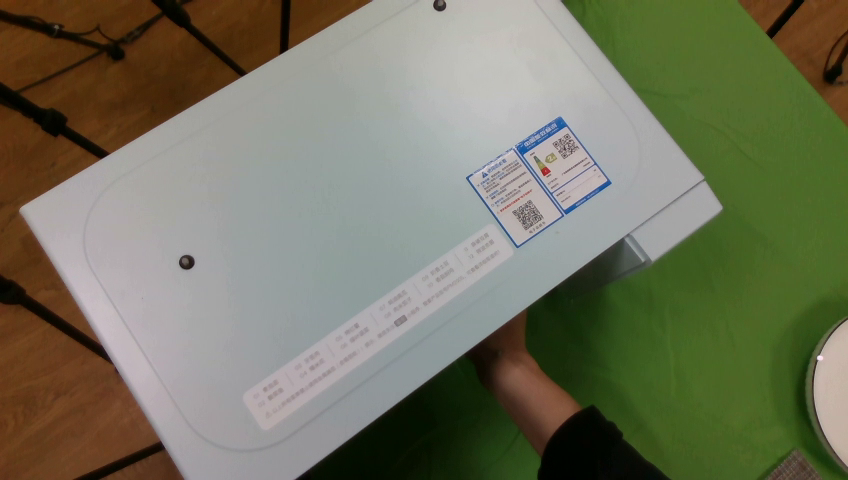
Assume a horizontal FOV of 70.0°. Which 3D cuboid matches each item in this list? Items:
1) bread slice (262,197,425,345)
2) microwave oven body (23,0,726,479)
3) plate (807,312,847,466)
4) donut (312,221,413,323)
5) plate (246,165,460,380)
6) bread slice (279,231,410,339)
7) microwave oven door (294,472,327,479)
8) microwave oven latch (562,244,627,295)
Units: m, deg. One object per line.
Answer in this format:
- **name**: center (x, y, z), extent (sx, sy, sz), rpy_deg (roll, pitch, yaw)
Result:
- **bread slice**: center (-0.067, 0.018, 0.553), extent (0.134, 0.018, 0.107), rpy_deg (-25, 89, -18)
- **microwave oven body**: center (-0.039, -0.011, 0.570), extent (0.442, 0.261, 0.325), rpy_deg (-35, 82, -10)
- **plate**: center (0.530, 0.175, 0.686), extent (0.208, 0.039, 0.206), rpy_deg (1, 78, -4)
- **donut**: center (-0.059, 0.031, 0.580), extent (0.099, 0.048, 0.098), rpy_deg (3, 80, -18)
- **plate**: center (-0.069, 0.032, 0.604), extent (0.209, 0.038, 0.208), rpy_deg (1, 83, -7)
- **bread slice**: center (-0.082, 0.047, 0.628), extent (0.132, 0.019, 0.104), rpy_deg (-12, 74, -36)
- **microwave oven door**: center (0.021, 0.302, 0.500), extent (0.355, 0.244, 0.039), rpy_deg (28, 77, 3)
- **microwave oven latch**: center (0.186, 0.029, 0.674), extent (0.079, 0.029, 0.030), rpy_deg (-30, 81, -9)
